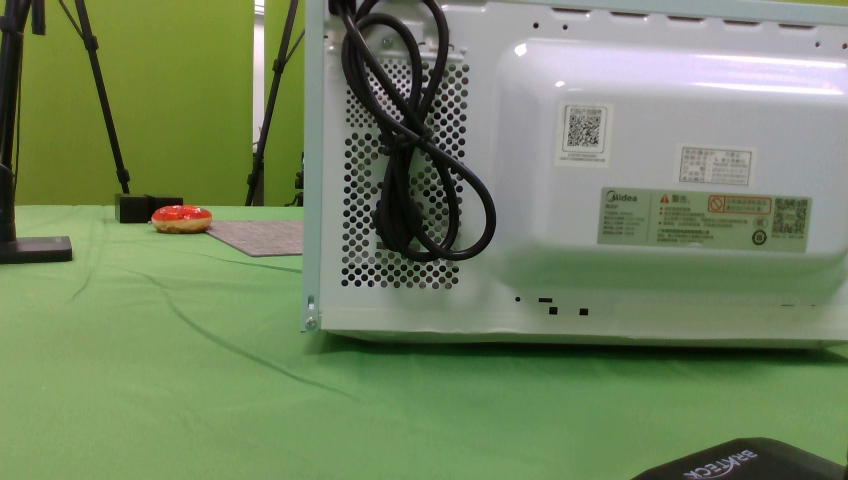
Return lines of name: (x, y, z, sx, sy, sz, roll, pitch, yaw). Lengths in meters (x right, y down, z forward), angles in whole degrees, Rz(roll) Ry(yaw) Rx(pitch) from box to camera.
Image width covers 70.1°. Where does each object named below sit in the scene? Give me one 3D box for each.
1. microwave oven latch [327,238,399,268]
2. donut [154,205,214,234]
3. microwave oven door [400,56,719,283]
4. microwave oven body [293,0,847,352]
microwave oven latch: (-0.069, 0.015, 0.694, 0.079, 0.029, 0.030, 3, 7, -3)
donut: (-0.426, -0.037, 1.075, 0.099, 0.048, 0.099, 2, 12, 0)
microwave oven door: (0.155, -0.077, 0.697, 0.356, 0.243, 0.039, 2, 8, -5)
microwave oven body: (0.122, -0.055, 0.550, 0.442, 0.260, 0.325, 3, 7, -5)
